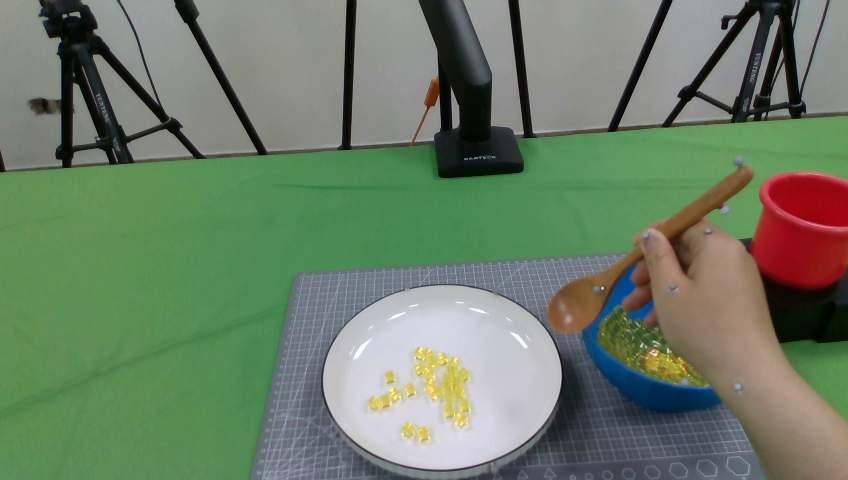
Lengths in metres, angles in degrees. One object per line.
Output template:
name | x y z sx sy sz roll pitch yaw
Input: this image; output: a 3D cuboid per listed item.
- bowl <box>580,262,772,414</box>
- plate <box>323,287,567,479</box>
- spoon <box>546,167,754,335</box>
bowl | 0.205 0.095 0.520 0.151 0.077 0.150 -2 37 2
plate | 0.018 0.122 0.532 0.207 0.039 0.205 -2 37 2
spoon | 0.152 0.014 0.432 0.022 0.194 0.041 8 52 -26
